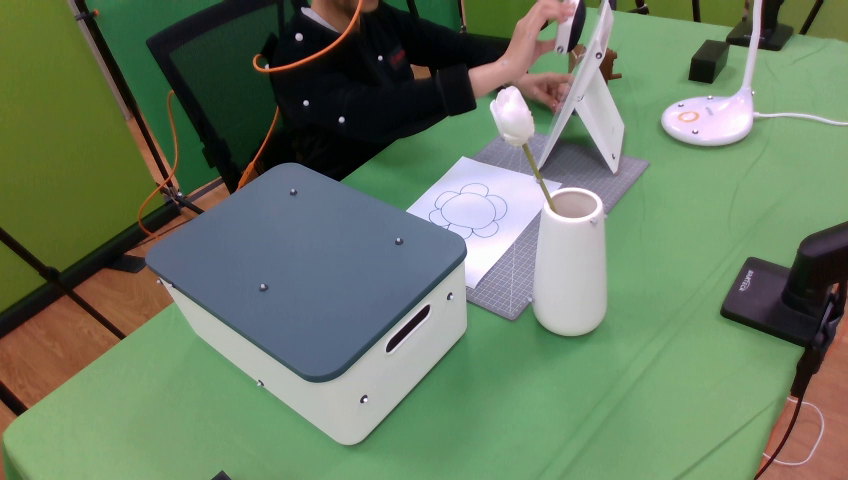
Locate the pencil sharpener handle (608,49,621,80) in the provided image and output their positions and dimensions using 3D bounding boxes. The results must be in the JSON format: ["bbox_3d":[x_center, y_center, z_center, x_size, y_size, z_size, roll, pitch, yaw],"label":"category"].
[{"bbox_3d":[0.394,-0.367,1.253,0.030,0.068,0.036,-8,32,1],"label":"pencil sharpener handle"}]

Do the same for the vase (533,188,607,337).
[{"bbox_3d":[0.187,0.033,0.771,0.098,0.201,0.097,-6,41,6],"label":"vase"}]

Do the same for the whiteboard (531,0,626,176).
[{"bbox_3d":[0.320,-0.258,1.050,0.144,0.306,0.217,22,46,6],"label":"whiteboard"}]

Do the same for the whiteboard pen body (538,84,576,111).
[{"bbox_3d":[0.278,-0.309,1.290,0.017,0.017,0.139,-25,46,-18],"label":"whiteboard pen body"}]

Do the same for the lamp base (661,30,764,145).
[{"bbox_3d":[0.535,-0.287,1.096,0.179,0.181,0.159,-10,40,-4],"label":"lamp base"}]

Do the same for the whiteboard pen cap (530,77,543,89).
[{"bbox_3d":[0.248,-0.343,1.328,0.018,0.018,0.033,-23,47,-16],"label":"whiteboard pen cap"}]

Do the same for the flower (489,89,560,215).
[{"bbox_3d":[0.159,-0.028,0.720,0.038,0.364,0.044,-15,44,23],"label":"flower"}]

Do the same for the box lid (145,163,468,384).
[{"bbox_3d":[-0.157,0.014,0.769,0.368,0.015,0.264,25,51,33],"label":"box lid"}]

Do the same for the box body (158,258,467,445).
[{"bbox_3d":[-0.147,0.072,0.816,0.361,0.161,0.255,24,50,33],"label":"box body"}]

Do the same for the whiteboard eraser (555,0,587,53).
[{"bbox_3d":[0.248,-0.363,1.014,0.042,0.056,0.112,16,46,9],"label":"whiteboard eraser"}]

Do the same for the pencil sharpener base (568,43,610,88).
[{"bbox_3d":[0.345,-0.352,1.263,0.077,0.107,0.061,-8,40,1],"label":"pencil sharpener base"}]
